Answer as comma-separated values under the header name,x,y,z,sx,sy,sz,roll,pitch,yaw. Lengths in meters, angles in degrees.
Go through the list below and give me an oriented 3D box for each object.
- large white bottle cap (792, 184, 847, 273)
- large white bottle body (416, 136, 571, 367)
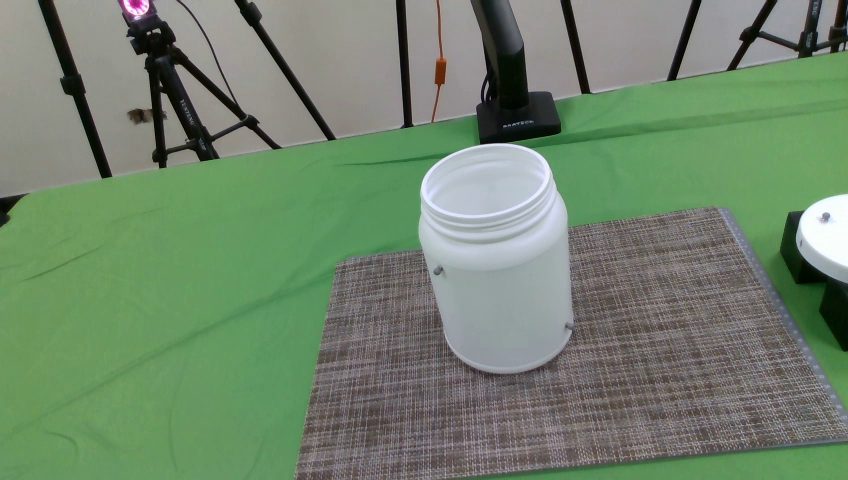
name,x,y,z,sx,sy,sz,roll,pitch,yaw
large white bottle cap,0.393,-0.010,0.537,0.115,0.018,0.113,-9,39,7
large white bottle body,0.065,0.012,0.553,0.130,0.186,0.129,-8,40,7
